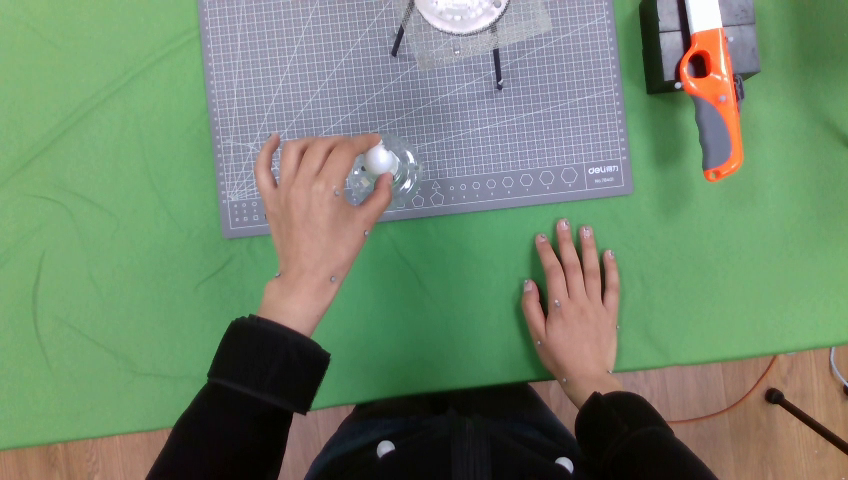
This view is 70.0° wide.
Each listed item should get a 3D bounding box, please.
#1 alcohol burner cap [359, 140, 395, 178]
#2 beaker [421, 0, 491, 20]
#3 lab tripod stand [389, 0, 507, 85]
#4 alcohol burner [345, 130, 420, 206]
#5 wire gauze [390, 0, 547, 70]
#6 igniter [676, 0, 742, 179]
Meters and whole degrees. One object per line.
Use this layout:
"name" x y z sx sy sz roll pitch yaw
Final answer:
"alcohol burner cap" -0.045 -0.075 0.553 0.034 0.048 0.034 0 88 0
"beaker" 0.025 -0.227 0.483 0.084 0.100 0.074 -8 87 0
"lab tripod stand" 0.031 -0.228 0.597 0.148 0.131 0.148 0 88 1
"alcohol burner" -0.042 -0.074 0.605 0.078 0.119 0.078 0 90 -1
"wire gauze" 0.031 -0.223 0.531 0.125 0.011 0.121 -20 90 -3
"igniter" 0.280 -0.200 0.608 0.057 0.025 0.276 -8 89 11
